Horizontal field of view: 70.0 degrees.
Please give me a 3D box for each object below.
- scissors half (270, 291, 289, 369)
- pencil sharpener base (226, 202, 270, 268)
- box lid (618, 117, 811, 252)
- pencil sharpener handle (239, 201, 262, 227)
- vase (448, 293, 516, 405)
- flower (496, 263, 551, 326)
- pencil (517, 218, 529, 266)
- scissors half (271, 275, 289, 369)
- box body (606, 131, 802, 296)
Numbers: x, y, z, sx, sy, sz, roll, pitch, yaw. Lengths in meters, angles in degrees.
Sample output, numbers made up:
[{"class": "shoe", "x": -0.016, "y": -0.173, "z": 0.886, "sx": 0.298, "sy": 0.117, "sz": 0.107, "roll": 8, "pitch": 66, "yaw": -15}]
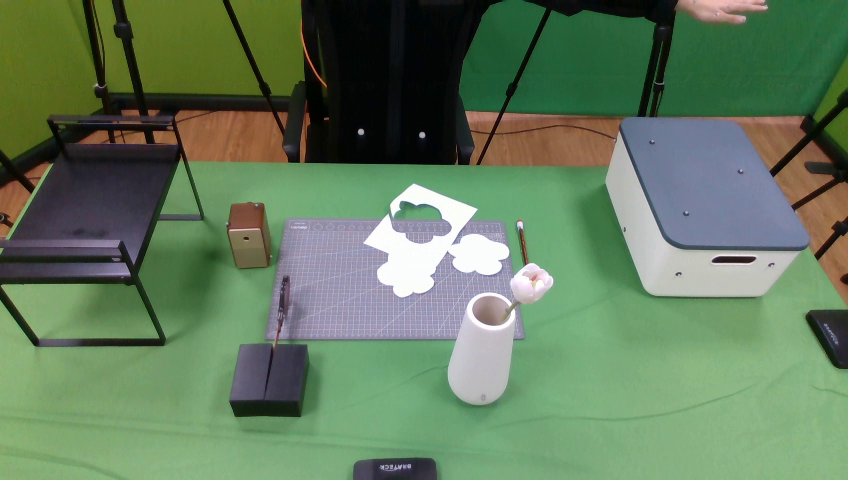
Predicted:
[{"class": "scissors half", "x": -0.243, "y": 0.145, "z": 1.014, "sx": 0.013, "sy": 0.040, "sz": 0.174, "roll": 7, "pitch": 38, "yaw": -7}, {"class": "pencil sharpener base", "x": -0.323, "y": -0.010, "z": 1.123, "sx": 0.061, "sy": 0.107, "sz": 0.076, "roll": -3, "pitch": 46, "yaw": -7}, {"class": "box lid", "x": 0.534, "y": -0.117, "z": 1.149, "sx": 0.263, "sy": 0.015, "sz": 0.369, "roll": 0, "pitch": 47, "yaw": -3}, {"class": "pencil sharpener handle", "x": -0.325, "y": -0.055, "z": 1.150, "sx": 0.036, "sy": 0.068, "sz": 0.030, "roll": -12, "pitch": 46, "yaw": 3}, {"class": "vase", "x": 0.091, "y": 0.169, "z": 0.921, "sx": 0.098, "sy": 0.201, "sz": 0.097, "roll": 3, "pitch": 47, "yaw": -3}, {"class": "flower", "x": 0.102, "y": 0.120, "z": 0.853, "sx": 0.044, "sy": 0.363, "sz": 0.038, "roll": -2, "pitch": 64, "yaw": -10}, {"class": "pencil", "x": 0.200, "y": 0.028, "z": 1.196, "sx": 0.012, "sy": 0.012, "sz": 0.193, "roll": 1, "pitch": 48, "yaw": -3}, {"class": "scissors half", "x": -0.240, "y": 0.131, "z": 1.000, "sx": 0.013, "sy": 0.040, "sz": 0.174, "roll": 3, "pitch": 56, "yaw": -4}, {"class": "box body", "x": 0.530, "y": -0.067, "z": 1.204, "sx": 0.254, "sy": 0.161, "sz": 0.361, "roll": 0, "pitch": 46, "yaw": -4}]
